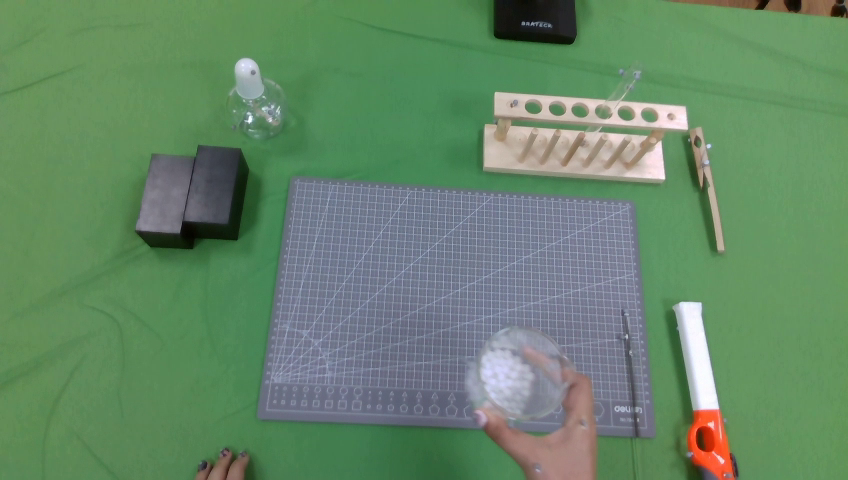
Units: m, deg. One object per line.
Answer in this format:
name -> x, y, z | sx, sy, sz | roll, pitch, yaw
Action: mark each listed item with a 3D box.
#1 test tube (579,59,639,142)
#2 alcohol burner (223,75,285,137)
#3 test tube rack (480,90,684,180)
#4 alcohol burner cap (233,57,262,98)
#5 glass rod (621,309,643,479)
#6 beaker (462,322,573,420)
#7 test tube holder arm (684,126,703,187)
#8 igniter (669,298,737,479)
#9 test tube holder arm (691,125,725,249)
test tube -> 0.223, -0.167, 0.745 | 0.017, 0.151, 0.017 | 4, 65, -8
alcohol burner -> -0.213, -0.181, 0.749 | 0.078, 0.120, 0.077 | 1, 67, -3
test tube rack -> 0.200, -0.133, 0.783 | 0.243, 0.085, 0.066 | 4, 69, -4
alcohol burner cap -> -0.210, -0.195, 0.716 | 0.034, 0.048, 0.033 | 5, 63, -9
glass rod -> 0.242, 0.177, 0.708 | 0.008, 0.008, 0.198 | 3, 69, -4
beaker -> 0.076, 0.118, 0.528 | 0.084, 0.101, 0.073 | -4, 71, -7
test tube holder arm -> 0.371, -0.114, 0.829 | 0.010, 0.015, 0.087 | -15, 68, 27
igniter -> 0.322, 0.202, 0.699 | 0.057, 0.025, 0.274 | 4, 69, -14
test tube holder arm -> 0.379, -0.074, 0.811 | 0.013, 0.015, 0.177 | -16, 68, 27
